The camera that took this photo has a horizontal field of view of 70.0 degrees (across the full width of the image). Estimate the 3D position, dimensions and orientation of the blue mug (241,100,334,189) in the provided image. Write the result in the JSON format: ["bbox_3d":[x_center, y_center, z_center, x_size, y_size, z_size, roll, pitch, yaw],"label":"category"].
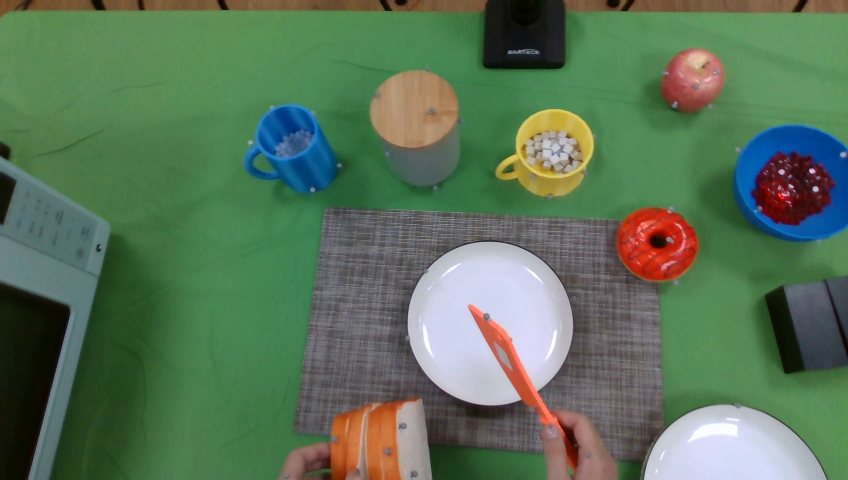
[{"bbox_3d":[-0.189,-0.120,0.820,0.116,0.106,0.082,-22,71,-2],"label":"blue mug"}]

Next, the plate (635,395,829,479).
[{"bbox_3d":[0.343,0.283,0.684,0.209,0.038,0.208,-2,72,5],"label":"plate"}]

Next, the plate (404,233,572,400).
[{"bbox_3d":[0.079,0.095,0.762,0.207,0.039,0.206,-1,73,5],"label":"plate"}]

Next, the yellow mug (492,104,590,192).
[{"bbox_3d":[0.153,-0.116,0.811,0.131,0.064,0.099,-20,72,-1],"label":"yellow mug"}]

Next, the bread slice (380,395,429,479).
[{"bbox_3d":[-0.020,0.221,0.648,0.019,0.132,0.104,-11,76,10],"label":"bread slice"}]

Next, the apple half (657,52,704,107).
[{"bbox_3d":[0.336,-0.208,0.818,0.033,0.082,0.080,-28,72,-9],"label":"apple half"}]

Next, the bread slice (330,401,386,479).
[{"bbox_3d":[-0.066,0.229,0.662,0.018,0.135,0.106,-14,71,14],"label":"bread slice"}]

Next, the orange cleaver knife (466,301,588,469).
[{"bbox_3d":[0.104,0.148,0.619,0.012,0.076,0.213,-37,109,-15],"label":"orange cleaver knife"}]

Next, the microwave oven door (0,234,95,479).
[{"bbox_3d":[-0.485,0.176,0.662,0.039,0.245,0.353,3,73,6],"label":"microwave oven door"}]

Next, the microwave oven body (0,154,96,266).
[{"bbox_3d":[-0.625,0.130,0.693,0.326,0.262,0.439,3,73,6],"label":"microwave oven body"}]

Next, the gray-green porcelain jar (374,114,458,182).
[{"bbox_3d":[-0.009,-0.142,0.801,0.106,0.127,0.105,-1,72,5],"label":"gray-green porcelain jar"}]

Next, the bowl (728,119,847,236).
[{"bbox_3d":[0.452,-0.068,0.763,0.151,0.077,0.150,-1,73,5],"label":"bowl"}]

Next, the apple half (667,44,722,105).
[{"bbox_3d":[0.370,-0.227,0.823,0.053,0.075,0.080,-27,68,-9],"label":"apple half"}]

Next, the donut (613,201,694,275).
[{"bbox_3d":[0.290,-0.003,0.771,0.099,0.048,0.098,-1,74,5],"label":"donut"}]

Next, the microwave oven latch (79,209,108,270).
[{"bbox_3d":[-0.455,-0.001,0.821,0.030,0.030,0.078,7,74,7],"label":"microwave oven latch"}]

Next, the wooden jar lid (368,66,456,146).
[{"bbox_3d":[-0.015,-0.162,0.742,0.108,0.021,0.107,-2,70,5],"label":"wooden jar lid"}]
